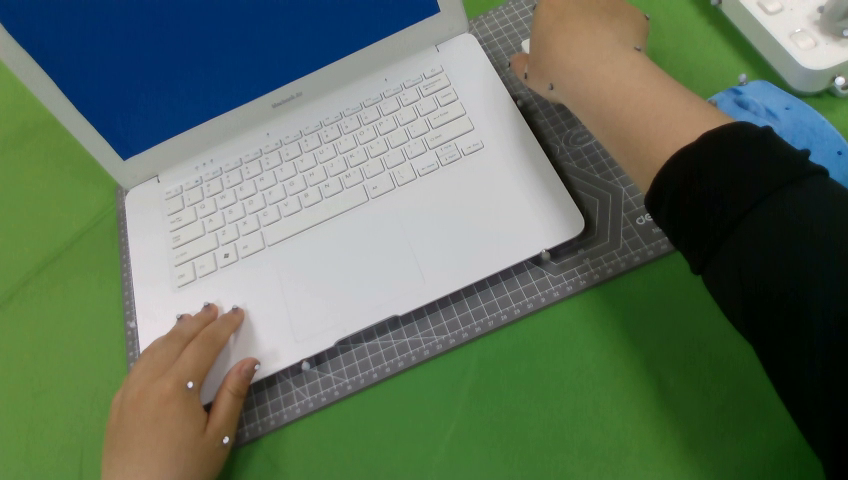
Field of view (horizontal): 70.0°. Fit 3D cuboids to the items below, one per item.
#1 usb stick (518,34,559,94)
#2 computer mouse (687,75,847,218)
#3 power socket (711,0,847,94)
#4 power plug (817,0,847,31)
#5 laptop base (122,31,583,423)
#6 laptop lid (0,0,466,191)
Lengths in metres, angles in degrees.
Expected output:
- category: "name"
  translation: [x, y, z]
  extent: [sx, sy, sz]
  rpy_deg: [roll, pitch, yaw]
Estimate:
- category: "usb stick"
  translation: [0.095, -0.153, 0.512]
  extent: [0.021, 0.027, 0.058]
  rpy_deg: [-17, 53, 3]
- category: "computer mouse"
  translation: [0.237, -0.071, 0.418]
  extent: [0.063, 0.041, 0.116]
  rpy_deg: [-25, 54, 5]
- category: "power socket"
  translation: [0.274, -0.205, 0.484]
  extent: [0.072, 0.033, 0.224]
  rpy_deg: [-22, 58, 5]
- category: "power plug"
  translation: [0.317, -0.168, 0.425]
  extent: [0.072, 0.053, 0.035]
  rpy_deg: [-15, 62, 9]
- category: "laptop base"
  translation: [-0.080, -0.024, 0.501]
  extent: [0.354, 0.023, 0.233]
  rpy_deg: [-25, 61, 2]
- category: "laptop lid"
  translation: [-0.157, -0.190, 0.479]
  extent: [0.357, 0.244, 0.013]
  rpy_deg: [-26, 44, 4]
